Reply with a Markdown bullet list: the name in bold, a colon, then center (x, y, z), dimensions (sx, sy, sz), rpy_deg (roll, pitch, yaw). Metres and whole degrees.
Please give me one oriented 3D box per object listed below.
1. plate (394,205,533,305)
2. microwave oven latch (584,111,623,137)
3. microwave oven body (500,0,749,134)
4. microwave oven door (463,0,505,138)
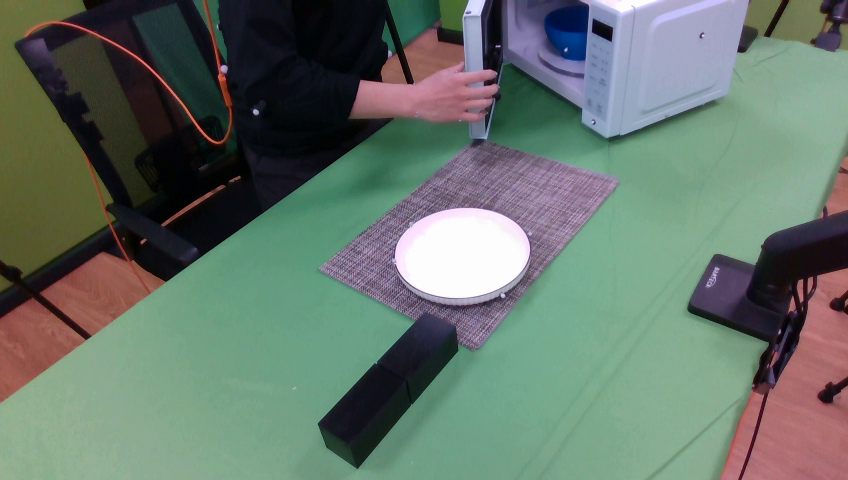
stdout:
- **plate**: center (0.059, 0.025, 0.915), dimensions (0.207, 0.039, 0.206), rpy_deg (-4, 41, 4)
- **microwave oven latch**: center (0.337, -0.222, 1.142), dimensions (0.030, 0.029, 0.078), rpy_deg (-21, 42, -14)
- **microwave oven body**: center (0.382, -0.444, 1.246), dimensions (0.327, 0.261, 0.437), rpy_deg (-22, 42, -16)
- **microwave oven door**: center (0.127, -0.404, 1.226), dimensions (0.039, 0.245, 0.355), rpy_deg (2, 42, 12)
